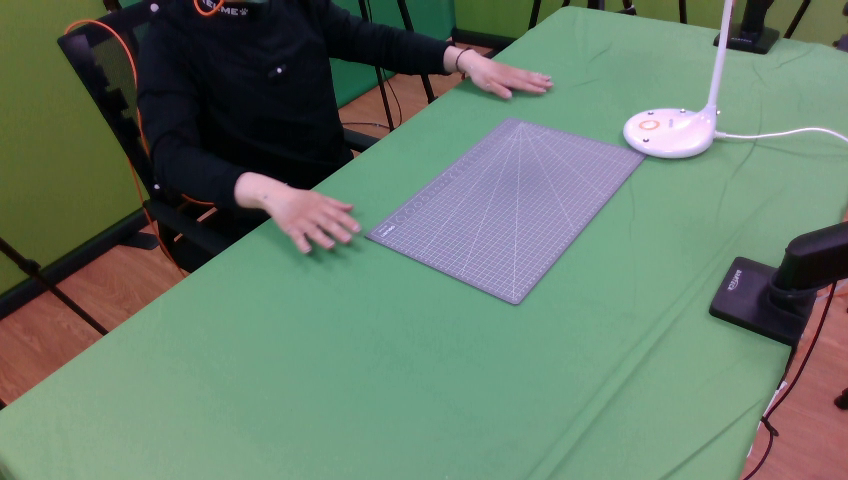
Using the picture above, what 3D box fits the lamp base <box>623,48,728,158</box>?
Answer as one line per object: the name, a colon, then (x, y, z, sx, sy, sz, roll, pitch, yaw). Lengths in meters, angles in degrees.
lamp base: (0.462, -0.261, 1.084, 0.179, 0.181, 0.160, 3, 42, 7)
